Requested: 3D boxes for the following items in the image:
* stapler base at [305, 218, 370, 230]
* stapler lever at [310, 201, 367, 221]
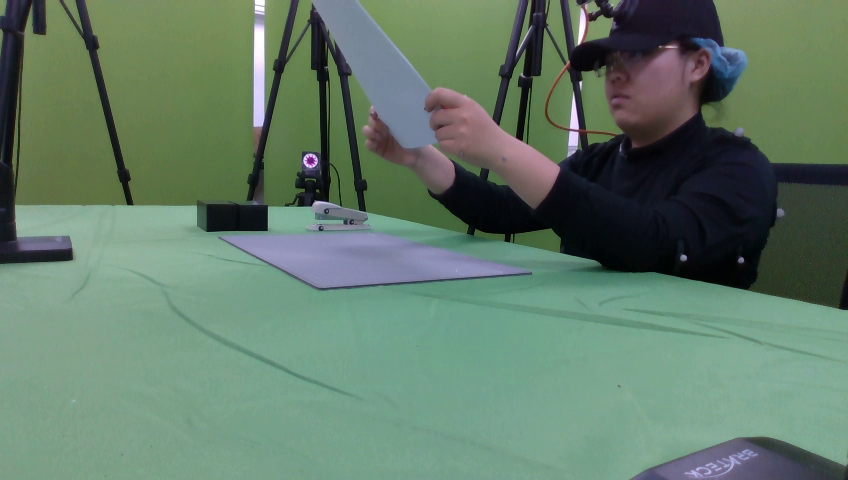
[{"bbox_3d":[-0.173,-0.034,1.215,0.131,0.024,0.041,0,9,-35],"label":"stapler base"},{"bbox_3d":[-0.170,-0.058,1.214,0.119,0.040,0.026,-1,10,-35],"label":"stapler lever"}]
